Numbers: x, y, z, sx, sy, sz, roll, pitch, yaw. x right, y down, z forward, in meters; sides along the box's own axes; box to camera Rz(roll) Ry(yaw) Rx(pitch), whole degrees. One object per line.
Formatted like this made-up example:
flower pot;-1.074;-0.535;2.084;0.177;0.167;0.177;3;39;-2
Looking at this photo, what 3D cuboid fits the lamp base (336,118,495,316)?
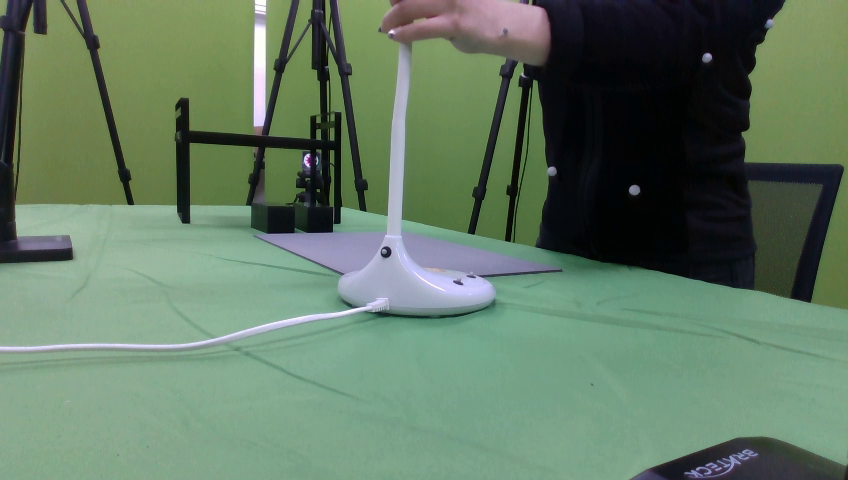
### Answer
lamp base;-0.009;-0.025;0.589;0.160;0.180;0.179;4;10;14
